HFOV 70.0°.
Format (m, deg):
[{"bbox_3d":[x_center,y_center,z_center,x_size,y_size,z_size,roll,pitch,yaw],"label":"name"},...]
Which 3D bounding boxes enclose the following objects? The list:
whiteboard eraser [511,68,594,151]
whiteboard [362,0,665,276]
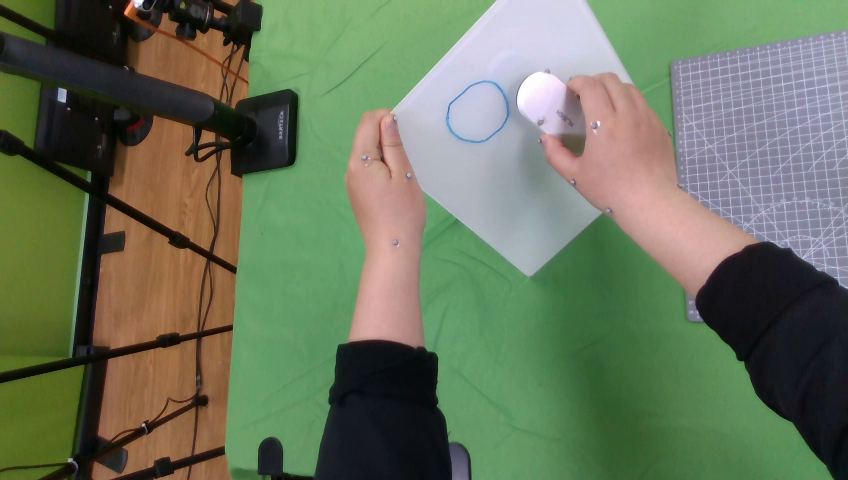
[{"bbox_3d":[0.116,-0.115,0.540,0.041,0.102,0.018,-55,38,8],"label":"whiteboard eraser"},{"bbox_3d":[0.083,-0.135,0.645,0.217,0.309,0.142,-44,46,11],"label":"whiteboard"}]
